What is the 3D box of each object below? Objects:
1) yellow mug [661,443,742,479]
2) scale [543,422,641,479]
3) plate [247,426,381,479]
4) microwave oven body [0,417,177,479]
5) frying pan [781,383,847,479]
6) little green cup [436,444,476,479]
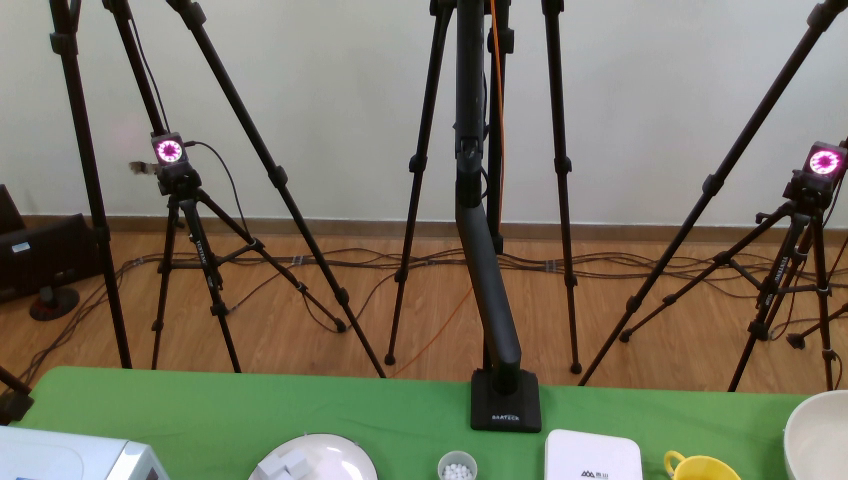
[{"bbox_3d":[0.404,0.360,0.908,0.100,0.064,0.129,-20,43,-19],"label":"yellow mug"},{"bbox_3d":[0.256,0.376,0.922,0.148,0.032,0.199,4,41,9],"label":"scale"},{"bbox_3d":[-0.168,0.385,0.927,0.208,0.039,0.205,-1,40,1],"label":"plate"},{"bbox_3d":[-0.519,0.457,0.679,0.325,0.262,0.438,4,41,7],"label":"microwave oven body"},{"bbox_3d":[0.720,0.398,0.818,0.307,0.103,0.482,-16,34,-14],"label":"frying pan"},{"bbox_3d":[0.051,0.357,0.950,0.061,0.039,0.061,-1,40,2],"label":"little green cup"}]
